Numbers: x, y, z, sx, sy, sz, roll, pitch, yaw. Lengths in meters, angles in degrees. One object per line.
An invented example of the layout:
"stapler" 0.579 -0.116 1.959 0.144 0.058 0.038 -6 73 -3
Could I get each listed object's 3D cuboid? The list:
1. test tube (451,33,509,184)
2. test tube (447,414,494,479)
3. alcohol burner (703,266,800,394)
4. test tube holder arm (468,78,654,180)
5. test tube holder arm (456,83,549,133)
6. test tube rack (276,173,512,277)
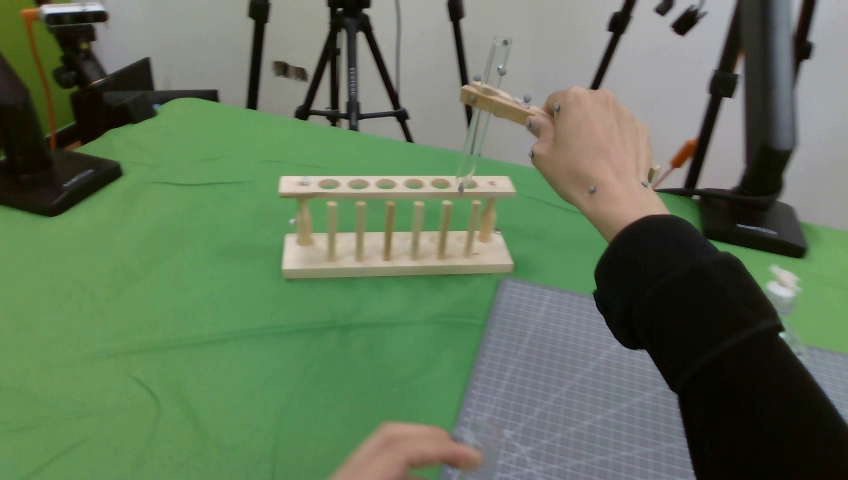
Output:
"test tube" 0.046 -0.108 0.529 0.017 0.151 0.017 8 45 -7
"test tube" 0.013 0.146 0.303 0.017 0.151 0.017 8 28 -4
"alcohol burner" 0.287 0.073 0.520 0.078 0.120 0.077 3 33 -1
"test tube holder arm" 0.102 -0.092 0.482 0.177 0.015 0.013 34 50 30
"test tube holder arm" 0.065 -0.110 0.500 0.087 0.015 0.010 27 46 25
"test tube rack" -0.030 -0.017 0.640 0.243 0.086 0.066 -1 35 -9
